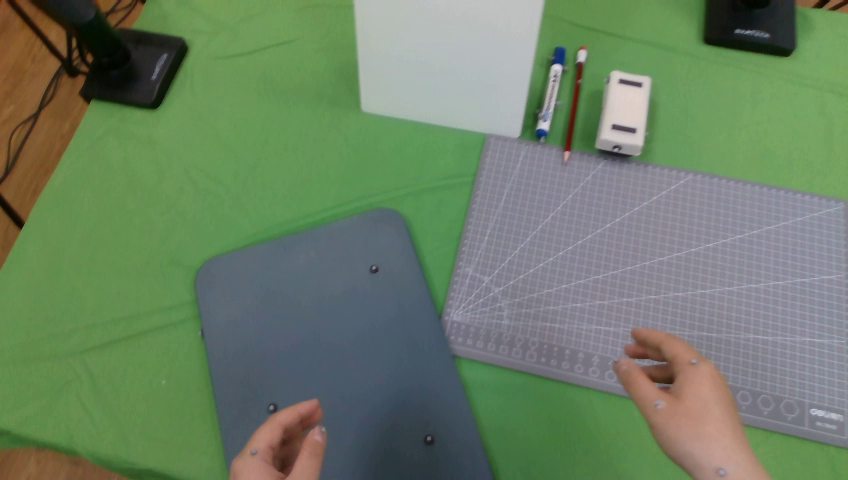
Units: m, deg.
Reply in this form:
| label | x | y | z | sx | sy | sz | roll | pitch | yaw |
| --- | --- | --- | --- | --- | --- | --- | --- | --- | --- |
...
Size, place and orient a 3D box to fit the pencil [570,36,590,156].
| label | x | y | z | sx | sy | sz | roll | pitch | yaw |
| --- | --- | --- | --- | --- | --- | --- | --- | --- | --- |
| pencil | 0.205 | -0.192 | 0.800 | 0.012 | 0.012 | 0.193 | 10 | 68 | 7 |

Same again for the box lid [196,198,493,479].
| label | x | y | z | sx | sy | sz | roll | pitch | yaw |
| --- | --- | --- | --- | --- | --- | --- | --- | --- | --- |
| box lid | -0.099 | 0.137 | 0.673 | 0.263 | 0.015 | 0.368 | -17 | 68 | -5 |

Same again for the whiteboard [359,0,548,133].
| label | x | y | z | sx | sy | sz | roll | pitch | yaw |
| --- | --- | --- | --- | --- | --- | --- | --- | --- | --- |
| whiteboard | 0.045 | -0.311 | 0.729 | 0.217 | 0.308 | 0.143 | 12 | 49 | 8 |

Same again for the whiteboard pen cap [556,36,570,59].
| label | x | y | z | sx | sy | sz | roll | pitch | yaw |
| --- | --- | --- | --- | --- | --- | --- | --- | --- | --- |
| whiteboard pen cap | 0.190 | -0.260 | 0.825 | 0.018 | 0.018 | 0.033 | 11 | 67 | 7 |

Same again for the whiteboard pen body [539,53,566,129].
| label | x | y | z | sx | sy | sz | roll | pitch | yaw |
| --- | --- | --- | --- | --- | --- | --- | --- | --- | --- |
| whiteboard pen body | 0.173 | -0.209 | 0.804 | 0.017 | 0.017 | 0.140 | 13 | 68 | 8 |

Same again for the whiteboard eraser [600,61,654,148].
| label | x | y | z | sx | sy | sz | roll | pitch | yaw |
| --- | --- | --- | --- | --- | --- | --- | --- | --- | --- |
| whiteboard eraser | 0.259 | -0.172 | 0.774 | 0.055 | 0.042 | 0.112 | 12 | 68 | 8 |
